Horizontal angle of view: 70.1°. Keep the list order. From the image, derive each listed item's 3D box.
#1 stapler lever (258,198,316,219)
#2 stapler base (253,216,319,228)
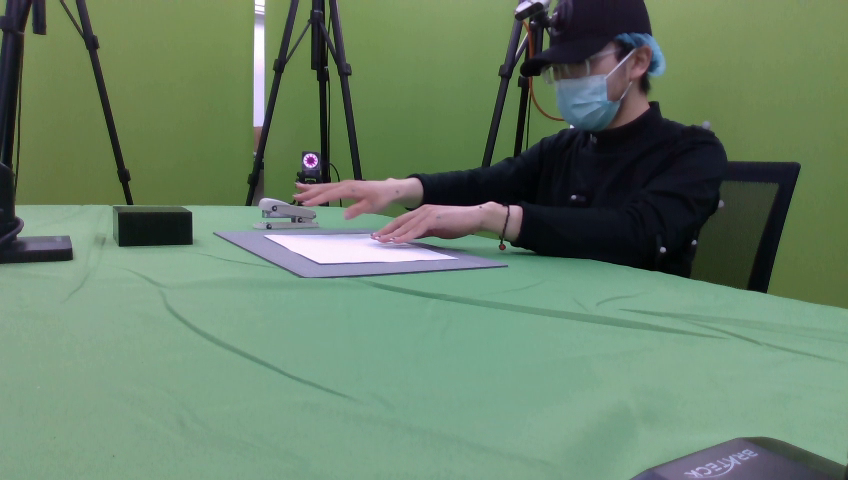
[{"bbox_3d":[-0.271,-0.062,1.201,0.119,0.040,0.026,-1,11,-40],"label":"stapler lever"},{"bbox_3d":[-0.274,-0.037,1.203,0.131,0.024,0.041,-1,11,-40],"label":"stapler base"}]
